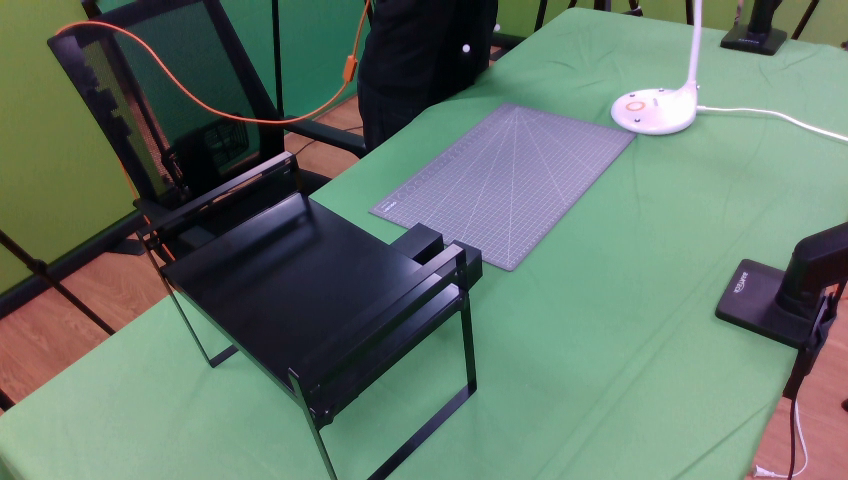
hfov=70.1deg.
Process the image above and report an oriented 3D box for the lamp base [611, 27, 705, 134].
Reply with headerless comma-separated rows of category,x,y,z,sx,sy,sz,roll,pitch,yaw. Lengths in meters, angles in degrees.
lamp base,0.458,-0.316,1.154,0.179,0.181,0.159,-5,41,0
